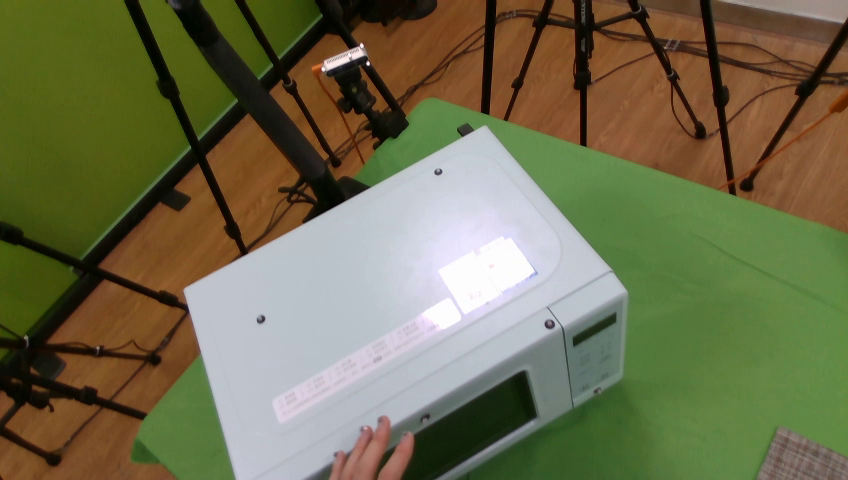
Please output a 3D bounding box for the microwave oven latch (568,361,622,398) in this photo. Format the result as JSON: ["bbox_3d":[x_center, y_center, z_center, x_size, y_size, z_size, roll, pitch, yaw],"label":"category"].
[{"bbox_3d":[0.220,0.174,0.793,0.079,0.030,0.030,-28,54,-3],"label":"microwave oven latch"}]

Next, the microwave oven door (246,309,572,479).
[{"bbox_3d":[0.004,0.223,0.694,0.356,0.246,0.039,-29,53,-5],"label":"microwave oven door"}]

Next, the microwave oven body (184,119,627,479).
[{"bbox_3d":[-0.021,0.107,0.786,0.442,0.263,0.322,-30,54,-4],"label":"microwave oven body"}]
